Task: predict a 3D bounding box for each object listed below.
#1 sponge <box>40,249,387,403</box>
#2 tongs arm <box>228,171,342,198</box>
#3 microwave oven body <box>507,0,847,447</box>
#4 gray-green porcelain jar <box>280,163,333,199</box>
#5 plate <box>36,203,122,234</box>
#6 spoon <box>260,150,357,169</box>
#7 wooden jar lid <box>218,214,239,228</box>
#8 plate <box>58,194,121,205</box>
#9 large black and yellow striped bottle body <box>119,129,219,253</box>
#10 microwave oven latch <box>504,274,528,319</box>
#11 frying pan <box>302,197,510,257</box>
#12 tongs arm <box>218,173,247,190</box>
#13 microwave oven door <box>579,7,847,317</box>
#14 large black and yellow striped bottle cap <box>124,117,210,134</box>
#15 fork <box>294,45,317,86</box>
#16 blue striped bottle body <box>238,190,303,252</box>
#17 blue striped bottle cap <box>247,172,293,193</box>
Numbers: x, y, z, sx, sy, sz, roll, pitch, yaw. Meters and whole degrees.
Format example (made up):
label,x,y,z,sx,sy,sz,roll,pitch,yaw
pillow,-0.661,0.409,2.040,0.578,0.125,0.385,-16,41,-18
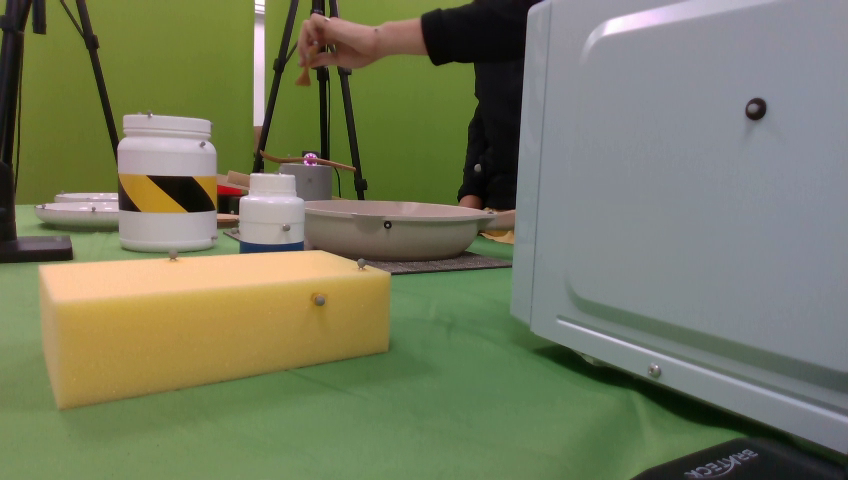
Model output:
label,x,y,z,sx,sy,sz,roll,pitch,yaw
sponge,-0.142,0.047,0.420,0.208,0.061,0.117,-3,8,-36
tongs arm,-0.267,-0.103,1.378,0.387,0.026,0.050,11,-3,-40
microwave oven body,0.331,-0.042,0.425,0.444,0.260,0.324,-2,8,-31
gray-green porcelain jar,-0.238,-0.091,1.221,0.106,0.126,0.106,2,7,0
plate,-0.571,-0.040,1.083,0.208,0.039,0.207,2,8,0
spoon,-0.231,-0.162,1.221,0.194,0.021,0.041,3,3,-15
wooden jar lid,-0.404,-0.037,1.169,0.108,0.020,0.108,3,7,0
plate,-0.671,-0.074,1.310,0.209,0.038,0.209,2,8,0
large black and yellow striped bottle body,-0.367,-0.080,0.876,0.131,0.184,0.130,2,7,0
microwave oven latch,0.100,0.041,0.471,0.079,0.029,0.030,-1,7,-28
frying pan,0.051,-0.035,0.915,0.487,0.102,0.307,-5,7,10
tongs arm,-0.315,-0.110,1.448,0.389,0.027,0.028,11,-7,-26
microwave oven door,0.294,-0.067,0.570,0.358,0.243,0.039,-3,9,-31
large black and yellow striped bottle cap,-0.366,-0.163,0.866,0.115,0.019,0.115,3,7,0
fork,-0.191,-0.281,0.983,0.028,0.018,0.207,4,-6,-16
blue striped bottle body,-0.153,-0.007,0.606,0.063,0.120,0.063,2,7,0
blue striped bottle cap,-0.152,-0.057,0.598,0.044,0.020,0.044,3,7,0
